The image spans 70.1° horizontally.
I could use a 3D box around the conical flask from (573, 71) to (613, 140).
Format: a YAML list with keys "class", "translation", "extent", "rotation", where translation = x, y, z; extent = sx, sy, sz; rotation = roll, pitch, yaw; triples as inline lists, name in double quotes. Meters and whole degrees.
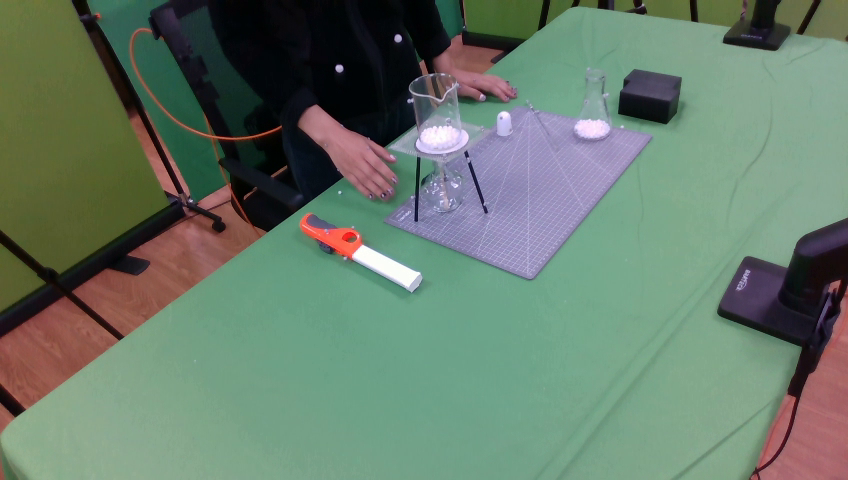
- class: "conical flask"
  translation: [0.321, -0.256, 1.142]
  extent: [0.075, 0.122, 0.075]
  rotation: [-5, 40, 5]

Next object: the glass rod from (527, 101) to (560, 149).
- class: "glass rod"
  translation: [0.240, -0.237, 1.223]
  extent: [0.008, 0.008, 0.198]
  rotation: [-12, 40, -2]

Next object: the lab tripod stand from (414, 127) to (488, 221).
- class: "lab tripod stand"
  translation: [0.035, -0.114, 1.021]
  extent: [0.148, 0.132, 0.147]
  rotation: [-7, 39, 6]

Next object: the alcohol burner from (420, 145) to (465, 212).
- class: "alcohol burner"
  translation: [0.030, -0.108, 1.030]
  extent: [0.078, 0.119, 0.077]
  rotation: [-5, 38, 4]

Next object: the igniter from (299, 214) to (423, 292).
- class: "igniter"
  translation: [-0.112, 0.016, 0.983]
  extent: [0.274, 0.025, 0.057]
  rotation: [26, 62, 35]

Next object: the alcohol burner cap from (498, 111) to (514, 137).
- class: "alcohol burner cap"
  translation: [0.163, -0.235, 1.211]
  extent: [0.034, 0.048, 0.033]
  rotation: [-6, 40, 6]

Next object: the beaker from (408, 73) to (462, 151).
- class: "beaker"
  translation: [0.021, -0.196, 0.943]
  extent: [0.074, 0.101, 0.083]
  rotation: [-17, 40, -7]

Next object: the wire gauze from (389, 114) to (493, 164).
- class: "wire gauze"
  translation: [0.027, -0.163, 0.978]
  extent: [0.120, 0.011, 0.125]
  rotation: [22, 50, 36]
